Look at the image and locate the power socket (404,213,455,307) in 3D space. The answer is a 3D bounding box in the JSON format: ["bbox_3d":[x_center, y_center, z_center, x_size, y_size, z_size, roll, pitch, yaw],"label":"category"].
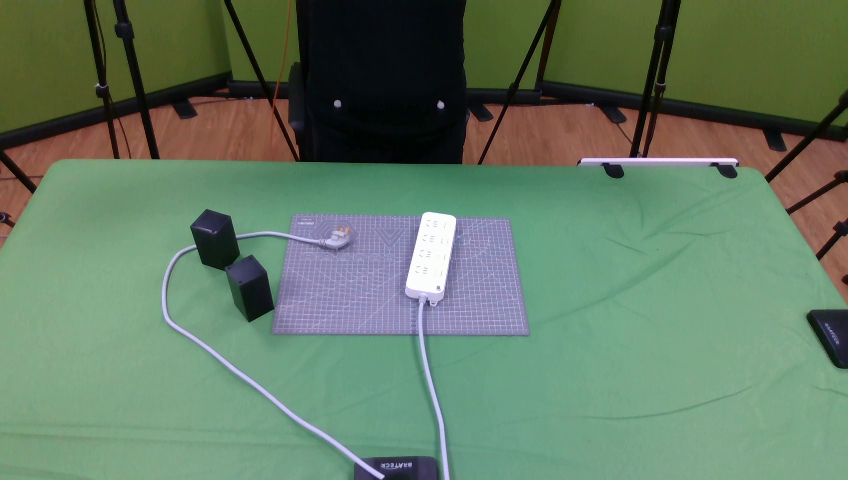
[{"bbox_3d":[0.013,0.029,1.159,0.072,0.033,0.225,8,46,5],"label":"power socket"}]

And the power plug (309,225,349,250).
[{"bbox_3d":[-0.182,-0.010,1.175,0.072,0.035,0.052,20,65,0],"label":"power plug"}]
